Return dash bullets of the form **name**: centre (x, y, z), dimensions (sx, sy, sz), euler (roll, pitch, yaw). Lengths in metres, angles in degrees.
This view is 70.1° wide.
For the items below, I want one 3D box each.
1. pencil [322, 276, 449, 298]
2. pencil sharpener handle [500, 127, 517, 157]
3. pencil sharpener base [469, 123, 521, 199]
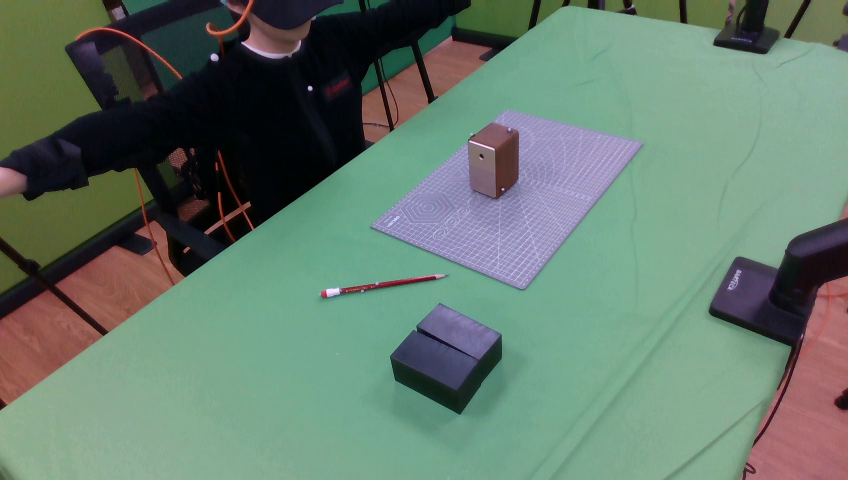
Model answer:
- **pencil**: centre (-0.058, 0.069, 0.916), dimensions (0.194, 0.012, 0.012), euler (-8, 40, -3)
- **pencil sharpener handle**: centre (0.154, -0.178, 1.072), dimensions (0.036, 0.068, 0.031), euler (36, 55, 20)
- **pencil sharpener base**: centre (0.126, -0.138, 1.050), dimensions (0.061, 0.107, 0.077), euler (24, 50, 33)
